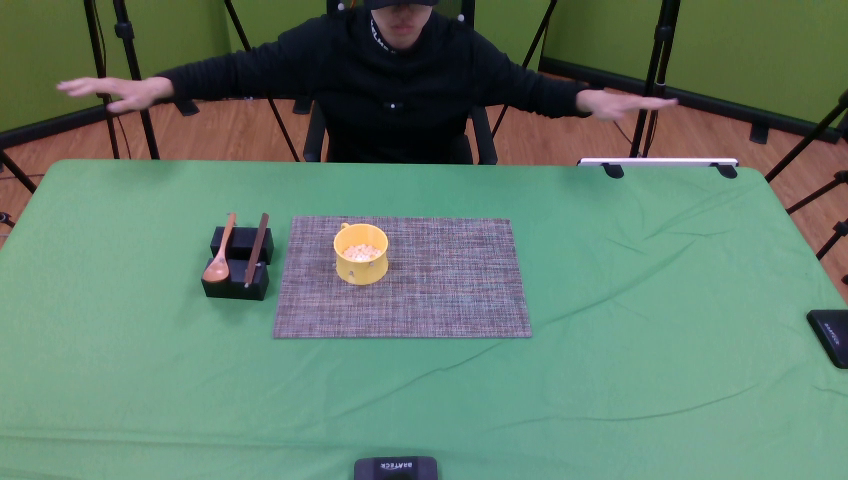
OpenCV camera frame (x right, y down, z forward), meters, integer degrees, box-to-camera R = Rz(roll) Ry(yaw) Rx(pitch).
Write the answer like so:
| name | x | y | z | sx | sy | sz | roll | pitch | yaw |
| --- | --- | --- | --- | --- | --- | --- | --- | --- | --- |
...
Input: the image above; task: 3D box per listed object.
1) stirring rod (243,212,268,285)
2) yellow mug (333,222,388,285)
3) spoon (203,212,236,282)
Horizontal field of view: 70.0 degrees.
| name | x | y | z | sx | sy | sz | roll | pitch | yaw |
| --- | --- | --- | --- | --- | --- | --- | --- | --- | --- |
| stirring rod | -0.305 | 0.012 | 1.101 | 0.014 | 0.006 | 0.175 | 31 | 38 | -28 |
| yellow mug | -0.127 | 0.016 | 1.139 | 0.100 | 0.064 | 0.130 | -23 | 51 | -24 |
| spoon | -0.361 | 0.009 | 1.097 | 0.041 | 0.022 | 0.192 | 0 | 44 | -2 |
